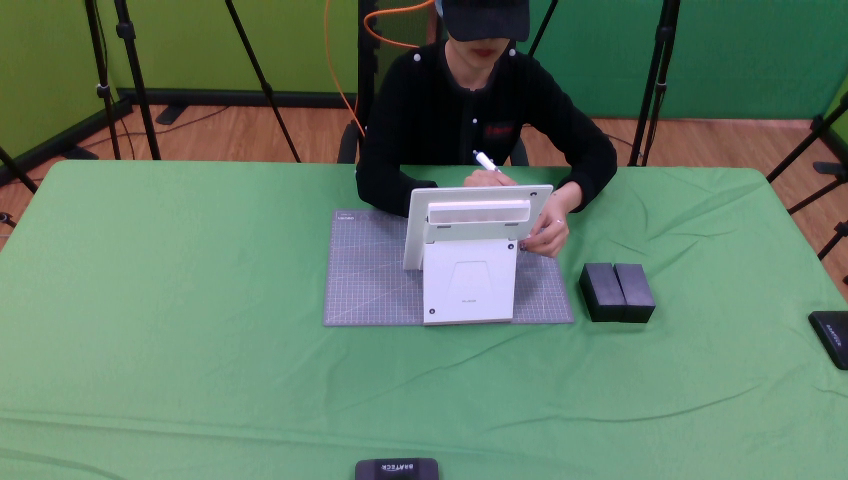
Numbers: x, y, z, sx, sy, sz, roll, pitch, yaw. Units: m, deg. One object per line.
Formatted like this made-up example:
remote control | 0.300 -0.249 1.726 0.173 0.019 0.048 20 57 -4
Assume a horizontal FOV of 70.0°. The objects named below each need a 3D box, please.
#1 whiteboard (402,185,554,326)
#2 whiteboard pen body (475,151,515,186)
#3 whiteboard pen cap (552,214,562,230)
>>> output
whiteboard | 0.081 0.044 1.005 0.217 0.306 0.143 -1 65 -6
whiteboard pen body | 0.129 -0.102 1.005 0.017 0.017 0.140 -23 56 -23
whiteboard pen cap | 0.276 -0.037 1.260 0.018 0.018 0.033 2 44 -2
